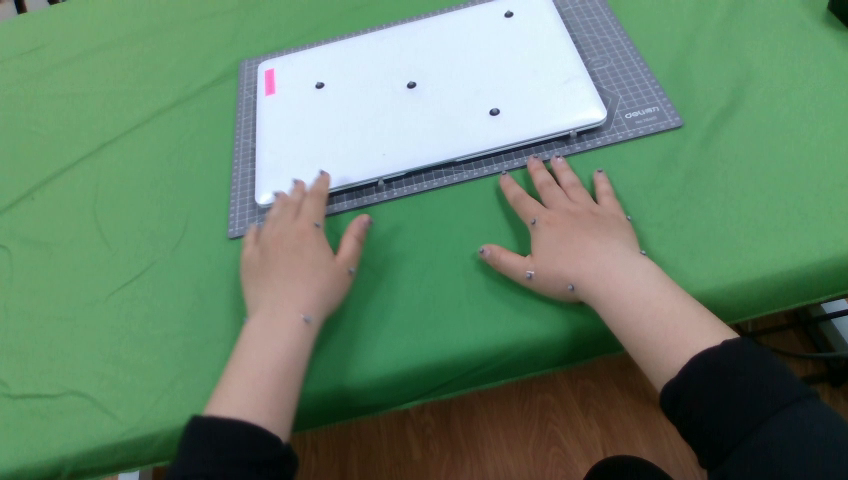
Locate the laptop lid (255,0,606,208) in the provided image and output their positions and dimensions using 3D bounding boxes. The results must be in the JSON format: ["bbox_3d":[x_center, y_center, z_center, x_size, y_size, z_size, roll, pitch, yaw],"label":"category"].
[{"bbox_3d":[-0.013,-0.162,0.649,0.356,0.013,0.239,-12,53,4],"label":"laptop lid"}]

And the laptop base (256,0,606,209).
[{"bbox_3d":[-0.011,-0.157,0.659,0.354,0.023,0.233,-14,54,3],"label":"laptop base"}]
